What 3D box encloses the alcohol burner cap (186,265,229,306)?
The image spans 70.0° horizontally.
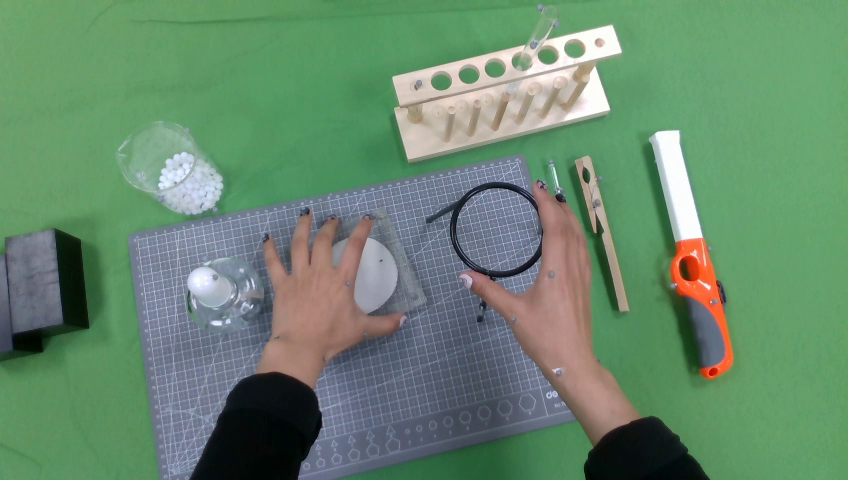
[{"bbox_3d":[-0.204,0.039,0.564,0.034,0.048,0.033,1,68,-2],"label":"alcohol burner cap"}]

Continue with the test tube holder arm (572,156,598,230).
[{"bbox_3d":[0.186,-0.053,0.686,0.010,0.015,0.087,-21,76,33],"label":"test tube holder arm"}]

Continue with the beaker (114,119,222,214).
[{"bbox_3d":[-0.262,-0.072,0.634,0.084,0.100,0.073,6,77,0],"label":"beaker"}]

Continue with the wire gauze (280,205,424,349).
[{"bbox_3d":[-0.078,0.037,0.656,0.121,0.011,0.124,-23,79,-7],"label":"wire gauze"}]

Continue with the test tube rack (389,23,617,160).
[{"bbox_3d":[0.087,-0.161,0.671,0.242,0.085,0.066,-15,78,-5],"label":"test tube rack"}]

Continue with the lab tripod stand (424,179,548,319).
[{"bbox_3d":[0.061,0.001,0.608,0.148,0.132,0.147,0,79,0],"label":"lab tripod stand"}]

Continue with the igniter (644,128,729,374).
[{"bbox_3d":[0.290,0.007,0.671,0.057,0.025,0.275,-6,78,-13],"label":"igniter"}]

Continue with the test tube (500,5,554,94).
[{"bbox_3d":[0.103,-0.192,0.628,0.017,0.150,0.017,2,75,-7],"label":"test tube"}]

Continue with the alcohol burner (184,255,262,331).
[{"bbox_3d":[-0.204,0.050,0.599,0.078,0.119,0.077,0,76,0],"label":"alcohol burner"}]

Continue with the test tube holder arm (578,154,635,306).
[{"bbox_3d":[0.201,-0.013,0.674,0.013,0.015,0.177,-24,75,32],"label":"test tube holder arm"}]

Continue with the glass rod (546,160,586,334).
[{"bbox_3d":[0.159,0.006,0.678,0.008,0.008,0.199,-9,82,-4],"label":"glass rod"}]
